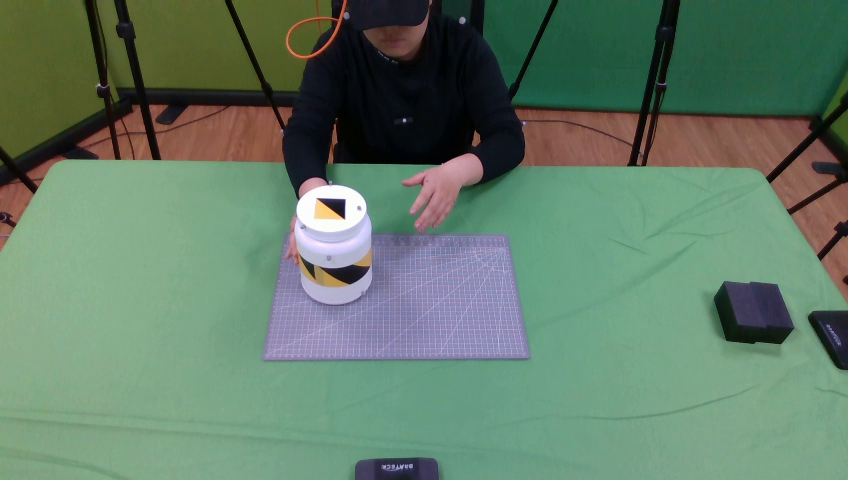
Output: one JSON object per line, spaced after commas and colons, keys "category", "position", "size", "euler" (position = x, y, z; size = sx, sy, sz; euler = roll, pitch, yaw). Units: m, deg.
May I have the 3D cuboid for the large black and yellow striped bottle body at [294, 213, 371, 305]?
{"category": "large black and yellow striped bottle body", "position": [-0.158, 0.010, 1.060], "size": [0.131, 0.185, 0.130], "euler": [2, 46, -2]}

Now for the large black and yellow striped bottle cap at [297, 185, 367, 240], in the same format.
{"category": "large black and yellow striped bottle cap", "position": [-0.152, -0.048, 1.000], "size": [0.115, 0.019, 0.114], "euler": [2, 46, -1]}
